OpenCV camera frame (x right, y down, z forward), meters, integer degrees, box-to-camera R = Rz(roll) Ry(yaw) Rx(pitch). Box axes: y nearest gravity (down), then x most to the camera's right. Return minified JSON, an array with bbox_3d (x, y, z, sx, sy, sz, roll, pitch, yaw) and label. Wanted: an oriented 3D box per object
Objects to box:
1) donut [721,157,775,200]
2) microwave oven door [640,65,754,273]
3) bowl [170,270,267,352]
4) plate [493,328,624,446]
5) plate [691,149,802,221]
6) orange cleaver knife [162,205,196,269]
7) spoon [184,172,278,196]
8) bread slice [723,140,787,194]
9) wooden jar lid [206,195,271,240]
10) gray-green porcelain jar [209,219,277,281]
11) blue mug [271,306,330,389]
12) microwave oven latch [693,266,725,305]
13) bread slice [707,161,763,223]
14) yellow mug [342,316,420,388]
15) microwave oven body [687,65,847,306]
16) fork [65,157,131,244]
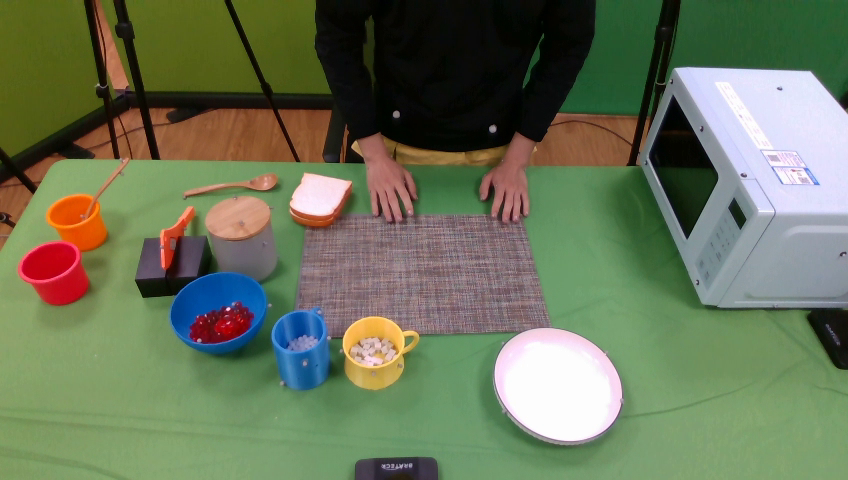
[{"bbox_3d":[0.648,-0.124,1.215,0.099,0.048,0.098,-3,55,5],"label":"donut"},{"bbox_3d":[0.523,-0.147,1.193,0.039,0.245,0.353,0,47,-3],"label":"microwave oven door"},{"bbox_3d":[-0.333,0.132,1.006,0.151,0.077,0.150,2,46,-2],"label":"bowl"},{"bbox_3d":[0.213,0.236,0.974,0.208,0.039,0.206,2,46,-2],"label":"plate"},{"bbox_3d":[0.652,-0.108,1.238,0.209,0.038,0.208,-1,46,1],"label":"plate"},{"bbox_3d":[-0.454,-0.010,1.129,0.012,0.077,0.210,-2,20,-5],"label":"orange cleaver knife"},{"bbox_3d":[-0.405,-0.116,1.275,0.194,0.022,0.041,-8,65,-12],"label":"spoon"},{"bbox_3d":[0.661,-0.147,1.200,0.107,0.018,0.133,0,54,9],"label":"bread slice"},{"bbox_3d":[-0.319,-0.036,1.046,0.108,0.021,0.107,1,44,0],"label":"wooden jar lid"},{"bbox_3d":[-0.323,0.007,1.092,0.106,0.127,0.105,2,46,-2],"label":"gray-green porcelain jar"},{"bbox_3d":[-0.188,0.163,0.969,0.082,0.106,0.116,15,47,10],"label":"blue mug"},{"bbox_3d":[0.523,0.082,1.115,0.030,0.029,0.078,3,46,0],"label":"microwave oven latch"},{"bbox_3d":[0.651,-0.104,1.262,0.105,0.019,0.131,12,69,10],"label":"bread slice"},{"bbox_3d":[-0.067,0.177,0.990,0.131,0.064,0.099,-16,50,-19],"label":"yellow mug"},{"bbox_3d":[0.669,-0.111,1.176,0.326,0.261,0.439,0,46,-3],"label":"microwave oven body"},{"bbox_3d":[-0.608,-0.074,1.132,0.207,0.019,0.028,-52,49,10],"label":"fork"}]
